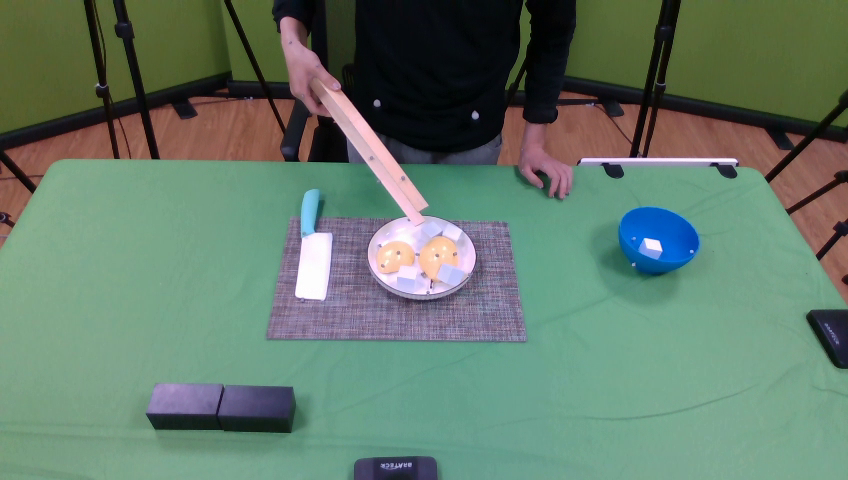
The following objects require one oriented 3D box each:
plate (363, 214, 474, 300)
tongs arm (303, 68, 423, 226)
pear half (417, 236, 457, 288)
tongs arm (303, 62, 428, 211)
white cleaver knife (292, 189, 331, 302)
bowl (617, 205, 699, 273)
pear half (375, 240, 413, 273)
[{"bbox_3d":[-0.010,0.036,1.146,0.208,0.039,0.206,3,46,-2],"label":"plate"},{"bbox_3d":[-0.118,-0.184,1.149,0.026,0.051,0.383,-31,71,-19],"label":"tongs arm"},{"bbox_3d":[0.022,0.039,1.127,0.076,0.056,0.109,5,50,7],"label":"pear half"},{"bbox_3d":[-0.114,-0.200,1.115,0.028,0.028,0.386,-32,72,-15],"label":"tongs arm"},{"bbox_3d":[-0.215,0.006,1.178,0.066,0.021,0.284,5,49,-12],"label":"white cleaver knife"},{"bbox_3d":[0.444,0.011,1.182,0.151,0.077,0.150,2,46,-2],"label":"bowl"},{"bbox_3d":[-0.059,0.026,1.145,0.070,0.031,0.088,22,43,21],"label":"pear half"}]
